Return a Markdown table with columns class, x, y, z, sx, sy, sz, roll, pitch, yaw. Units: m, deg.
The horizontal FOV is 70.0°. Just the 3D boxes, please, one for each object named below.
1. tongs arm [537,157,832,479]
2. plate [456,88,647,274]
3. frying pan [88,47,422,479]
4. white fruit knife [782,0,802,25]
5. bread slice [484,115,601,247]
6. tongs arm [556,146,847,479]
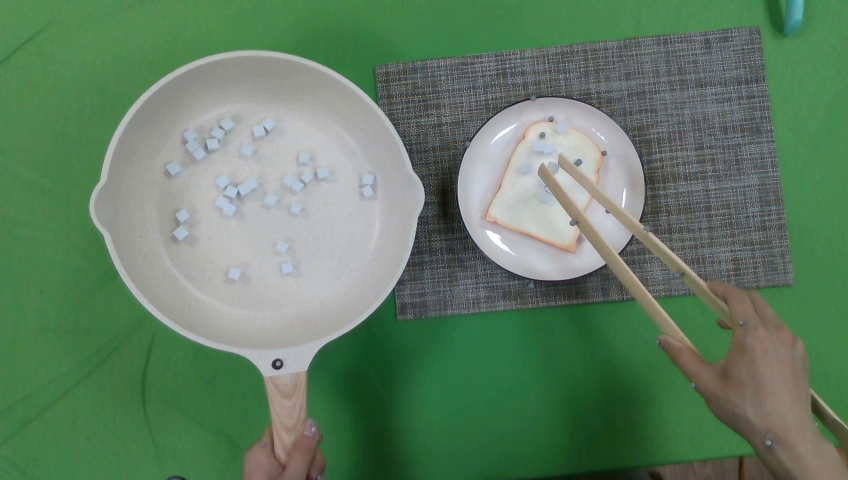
| class | x | y | z | sx | sy | sz | roll | pitch | yaw |
| --- | --- | --- | --- | --- | --- | --- | --- | --- | --- |
| tongs arm | 0.229 | 0.063 | 0.557 | 0.028 | 0.028 | 0.384 | -32 | 69 | -15 |
| plate | 0.140 | -0.064 | 0.679 | 0.207 | 0.039 | 0.207 | 0 | 86 | 2 |
| frying pan | -0.141 | 0.061 | 0.584 | 0.308 | 0.103 | 0.485 | -4 | 78 | -18 |
| white fruit knife | 0.409 | -0.349 | 0.671 | 0.016 | 0.027 | 0.208 | -5 | 100 | 0 |
| bread slice | 0.136 | -0.072 | 0.681 | 0.107 | 0.018 | 0.134 | 18 | 89 | 2 |
| tongs arm | 0.245 | 0.053 | 0.560 | 0.051 | 0.027 | 0.382 | -38 | 71 | -14 |
